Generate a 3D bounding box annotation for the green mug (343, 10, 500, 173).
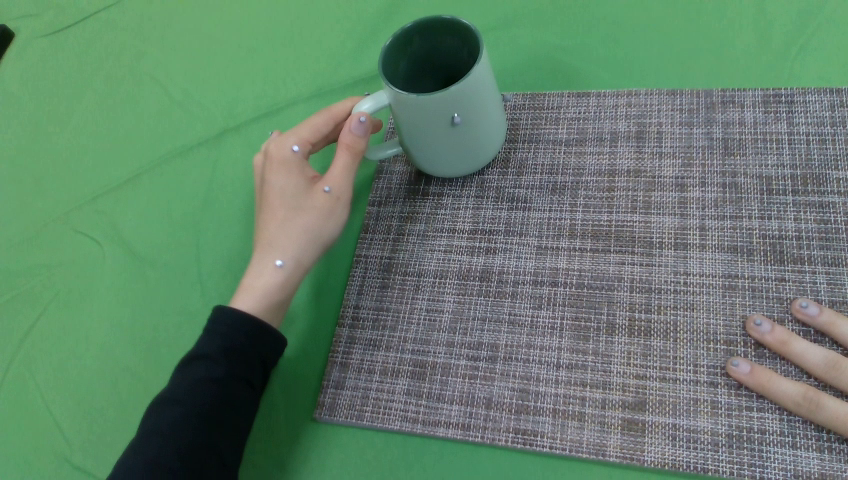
[{"bbox_3d":[-0.004,-0.106,0.482,0.125,0.106,0.091,-27,60,0],"label":"green mug"}]
